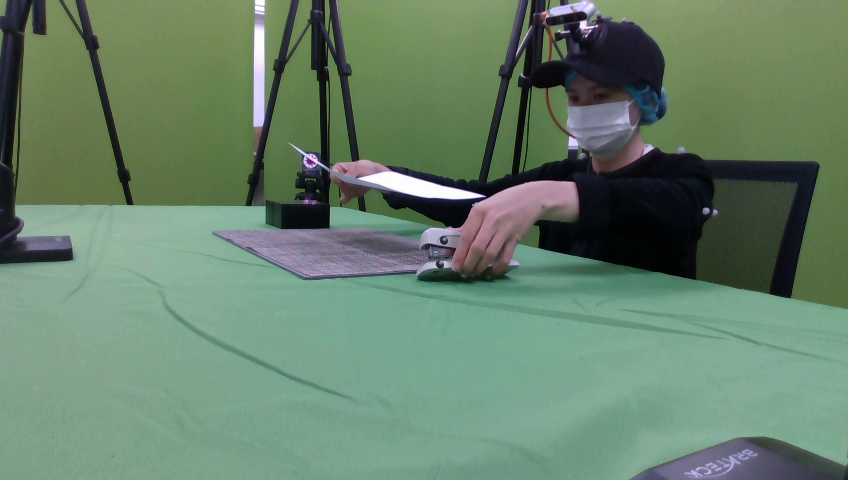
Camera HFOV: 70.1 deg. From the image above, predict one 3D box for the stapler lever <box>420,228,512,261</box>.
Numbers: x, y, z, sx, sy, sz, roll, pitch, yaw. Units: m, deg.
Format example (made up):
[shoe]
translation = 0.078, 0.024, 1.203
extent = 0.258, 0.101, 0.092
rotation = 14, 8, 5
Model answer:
[stapler lever]
translation = 0.051, 0.006, 0.747
extent = 0.118, 0.040, 0.027
rotation = 0, -18, -25

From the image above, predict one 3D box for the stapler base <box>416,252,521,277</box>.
[stapler base]
translation = 0.053, 0.029, 0.738
extent = 0.131, 0.024, 0.041
rotation = 1, -19, -24
